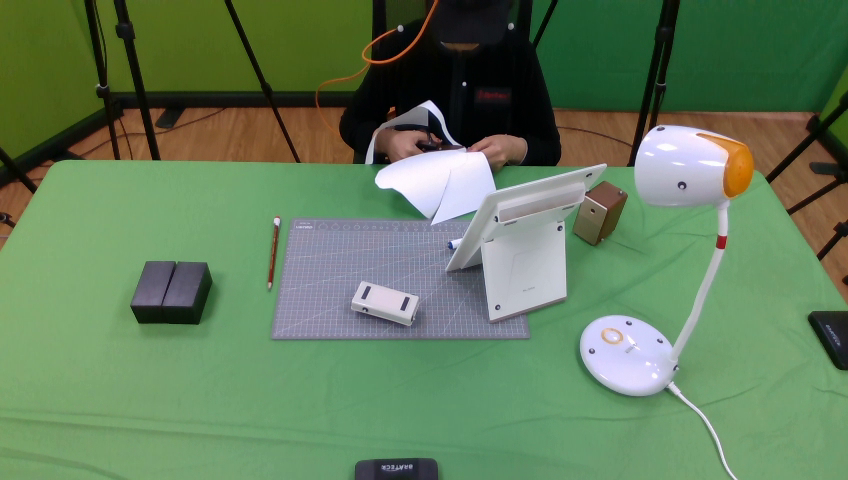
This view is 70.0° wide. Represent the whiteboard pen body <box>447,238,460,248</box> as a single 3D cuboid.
[{"bbox_3d":[0.112,-0.006,1.203,0.141,0.017,0.017,-14,49,-18],"label":"whiteboard pen body"}]

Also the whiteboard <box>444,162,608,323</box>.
[{"bbox_3d":[0.186,0.025,1.029,0.217,0.306,0.143,-14,68,-18],"label":"whiteboard"}]

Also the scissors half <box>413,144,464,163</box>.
[{"bbox_3d":[0.031,-0.199,1.365,0.013,0.040,0.174,-6,3,-38],"label":"scissors half"}]

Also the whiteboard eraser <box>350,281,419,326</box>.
[{"bbox_3d":[-0.069,0.113,1.065,0.112,0.042,0.055,14,46,9],"label":"whiteboard eraser"}]

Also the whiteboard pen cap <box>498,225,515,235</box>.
[{"bbox_3d":[0.166,-0.019,1.222,0.033,0.018,0.018,-14,49,-19],"label":"whiteboard pen cap"}]

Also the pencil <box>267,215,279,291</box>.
[{"bbox_3d":[-0.291,0.022,1.164,0.012,0.012,0.192,-2,48,-6],"label":"pencil"}]

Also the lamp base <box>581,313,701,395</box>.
[{"bbox_3d":[0.361,0.144,0.972,0.178,0.181,0.160,34,53,23],"label":"lamp base"}]

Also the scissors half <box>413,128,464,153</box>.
[{"bbox_3d":[0.032,-0.219,1.361,0.013,0.040,0.174,-12,28,-37],"label":"scissors half"}]

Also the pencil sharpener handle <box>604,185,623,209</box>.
[{"bbox_3d":[0.390,-0.091,1.235,0.030,0.068,0.036,-34,69,-31],"label":"pencil sharpener handle"}]

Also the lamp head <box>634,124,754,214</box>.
[{"bbox_3d":[0.351,-0.089,0.775,0.112,0.113,0.122,-30,30,-28],"label":"lamp head"}]

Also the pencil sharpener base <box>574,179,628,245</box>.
[{"bbox_3d":[0.355,-0.057,1.217,0.076,0.107,0.061,-33,56,-31],"label":"pencil sharpener base"}]
